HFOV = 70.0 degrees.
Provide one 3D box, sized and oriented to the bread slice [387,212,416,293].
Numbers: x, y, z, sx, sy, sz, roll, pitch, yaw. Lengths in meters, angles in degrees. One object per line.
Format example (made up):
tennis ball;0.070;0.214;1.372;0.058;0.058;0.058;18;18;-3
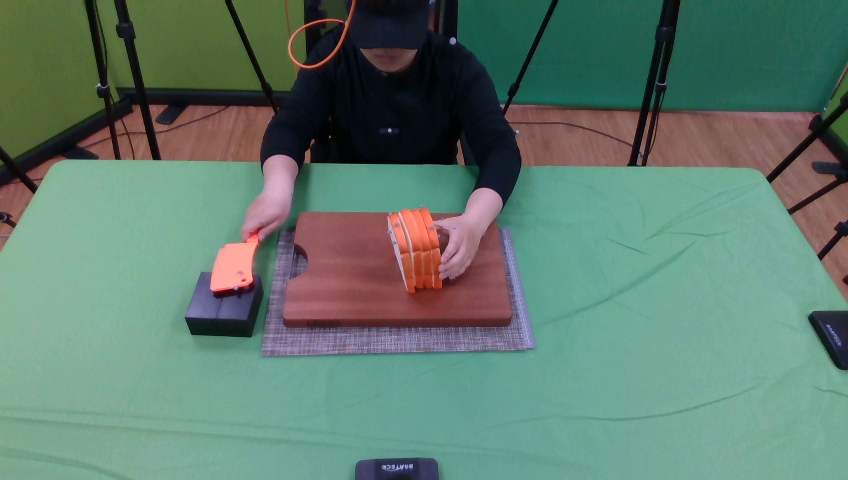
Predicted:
bread slice;-0.041;0.016;1.067;0.019;0.132;0.104;-16;46;-6

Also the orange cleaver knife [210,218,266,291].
orange cleaver knife;-0.336;0.023;1.105;0.077;0.012;0.210;-2;36;-1

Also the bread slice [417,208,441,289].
bread slice;0.009;0.011;1.075;0.018;0.135;0.106;-13;51;-9
